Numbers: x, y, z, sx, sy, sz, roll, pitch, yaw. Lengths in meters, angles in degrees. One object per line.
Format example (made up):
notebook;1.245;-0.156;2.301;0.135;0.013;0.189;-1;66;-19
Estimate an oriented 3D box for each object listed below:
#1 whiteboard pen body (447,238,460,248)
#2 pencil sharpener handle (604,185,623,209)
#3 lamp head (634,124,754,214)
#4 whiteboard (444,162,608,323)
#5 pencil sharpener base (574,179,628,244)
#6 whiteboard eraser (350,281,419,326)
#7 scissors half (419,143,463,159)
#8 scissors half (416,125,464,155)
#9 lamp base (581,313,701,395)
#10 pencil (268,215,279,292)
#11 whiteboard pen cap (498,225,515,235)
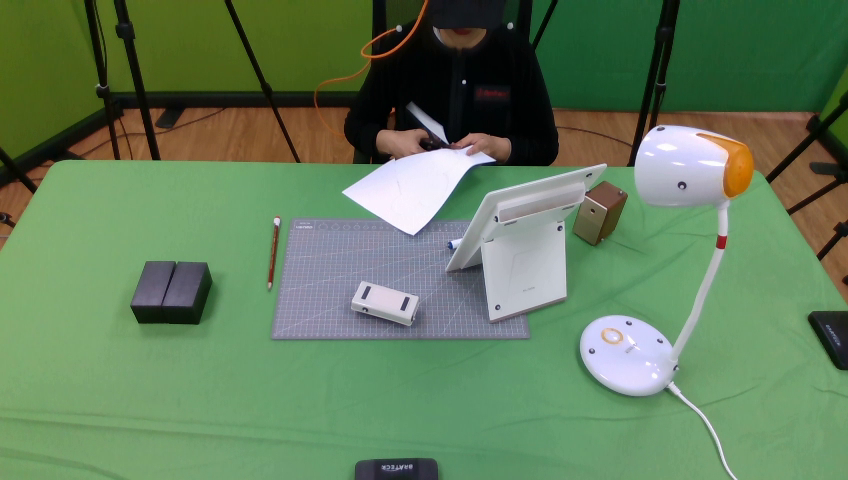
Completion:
whiteboard pen body;0.112;-0.006;1.203;0.141;0.017;0.017;-14;49;-18
pencil sharpener handle;0.390;-0.091;1.235;0.030;0.068;0.036;-33;69;-31
lamp head;0.351;-0.089;0.775;0.112;0.113;0.122;-30;30;-28
whiteboard;0.186;0.025;1.029;0.217;0.306;0.143;-14;68;-18
pencil sharpener base;0.355;-0.057;1.217;0.076;0.107;0.061;-33;56;-31
whiteboard eraser;-0.069;0.113;1.065;0.112;0.042;0.055;14;46;9
scissors half;0.038;-0.204;1.384;0.013;0.040;0.174;-24;18;-27
scissors half;0.035;-0.223;1.374;0.013;0.040;0.174;-29;43;-24
lamp base;0.361;0.144;0.972;0.178;0.181;0.160;34;53;23
pencil;-0.290;0.023;1.164;0.012;0.012;0.192;-2;48;-6
whiteboard pen cap;0.166;-0.019;1.222;0.033;0.018;0.018;-14;49;-19
